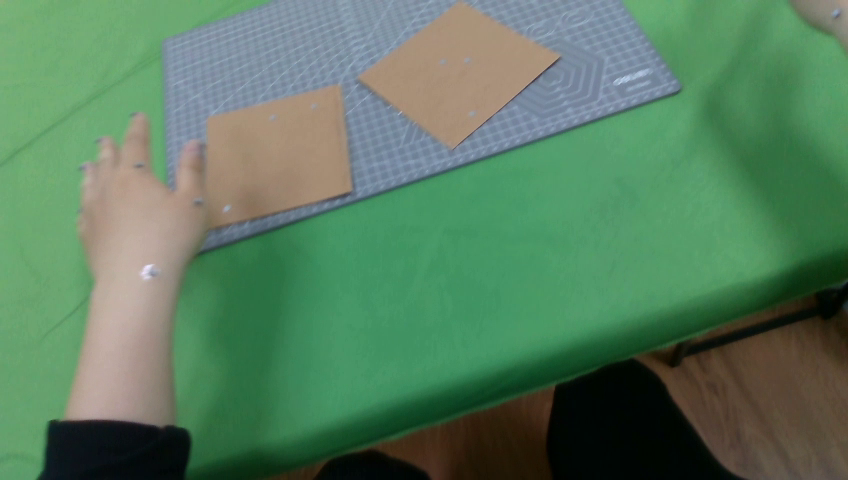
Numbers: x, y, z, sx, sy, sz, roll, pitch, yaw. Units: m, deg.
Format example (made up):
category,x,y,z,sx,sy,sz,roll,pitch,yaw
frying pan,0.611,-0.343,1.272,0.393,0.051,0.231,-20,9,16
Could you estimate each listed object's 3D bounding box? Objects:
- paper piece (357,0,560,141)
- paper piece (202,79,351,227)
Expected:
category,x,y,z,sx,sy,sz,roll,pitch,yaw
paper piece,0.028,-0.164,0.553,0.135,0.004,0.134,-41,60,-12
paper piece,-0.136,-0.083,0.546,0.138,0.009,0.134,-14,55,6
